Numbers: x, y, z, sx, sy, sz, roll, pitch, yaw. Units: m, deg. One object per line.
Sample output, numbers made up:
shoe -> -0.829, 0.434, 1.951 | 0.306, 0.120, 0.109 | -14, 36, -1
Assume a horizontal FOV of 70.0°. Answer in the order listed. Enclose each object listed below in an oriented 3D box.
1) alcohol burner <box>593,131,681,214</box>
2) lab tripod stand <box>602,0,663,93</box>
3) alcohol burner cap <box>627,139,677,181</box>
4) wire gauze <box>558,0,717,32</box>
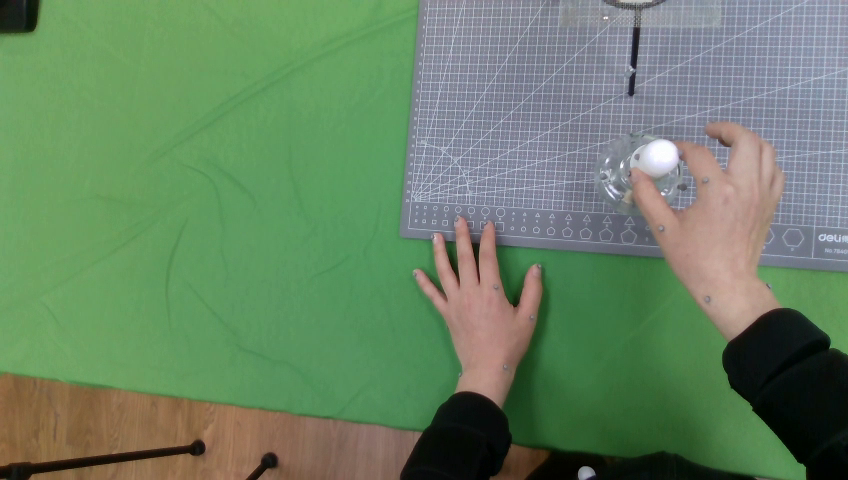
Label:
alcohol burner -> 0.194, -0.064, 0.548 | 0.078, 0.119, 0.078 | -1, 86, 12
lab tripod stand -> 0.187, -0.223, 0.548 | 0.148, 0.132, 0.148 | -1, 87, 12
alcohol burner cap -> 0.186, -0.067, 0.490 | 0.034, 0.048, 0.034 | 0, 88, 5
wire gauze -> 0.172, -0.229, 0.484 | 0.125, 0.011, 0.121 | 4, 91, 11
